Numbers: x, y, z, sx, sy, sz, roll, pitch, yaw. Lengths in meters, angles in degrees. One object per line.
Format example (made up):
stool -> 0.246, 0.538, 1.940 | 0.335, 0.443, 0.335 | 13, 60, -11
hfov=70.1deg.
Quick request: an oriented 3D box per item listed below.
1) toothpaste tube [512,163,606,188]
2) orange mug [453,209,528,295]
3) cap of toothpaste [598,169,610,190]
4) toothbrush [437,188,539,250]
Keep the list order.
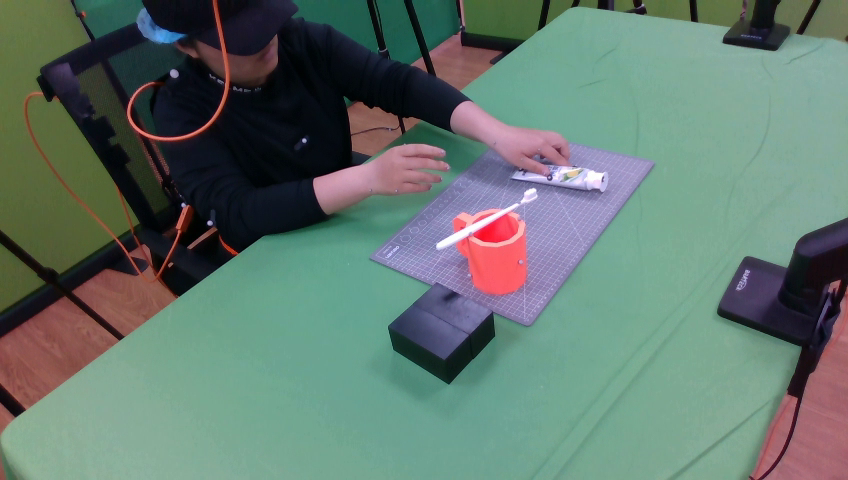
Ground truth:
toothpaste tube -> 0.241, -0.116, 1.068 | 0.164, 0.035, 0.055 | 10, 40, 31
orange mug -> 0.095, 0.010, 0.894 | 0.125, 0.101, 0.084 | 32, 55, 33
cap of toothpaste -> 0.304, -0.103, 1.026 | 0.011, 0.037, 0.037 | 12, 44, 35
toothbrush -> 0.093, -0.031, 0.859 | 0.182, 0.017, 0.014 | -28, 51, -21
